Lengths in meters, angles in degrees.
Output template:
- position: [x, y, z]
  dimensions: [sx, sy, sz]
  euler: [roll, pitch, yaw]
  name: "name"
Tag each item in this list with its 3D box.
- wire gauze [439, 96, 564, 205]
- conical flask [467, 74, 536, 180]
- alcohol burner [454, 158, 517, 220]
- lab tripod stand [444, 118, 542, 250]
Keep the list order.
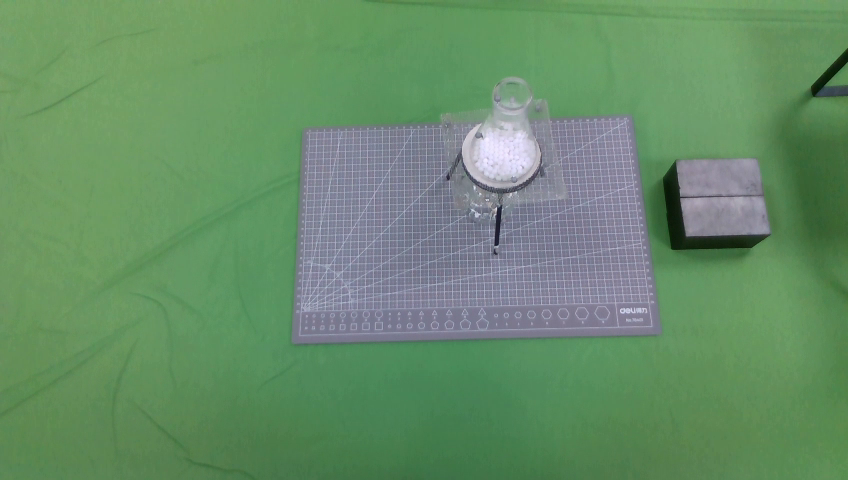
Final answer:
- position: [0.085, -0.098, 0.667]
  dimensions: [0.125, 0.011, 0.120]
  euler: [-6, 74, -3]
  name: "wire gauze"
- position: [0.082, -0.117, 0.610]
  dimensions: [0.075, 0.122, 0.075]
  euler: [-1, 71, 2]
  name: "conical flask"
- position: [0.076, -0.069, 0.737]
  dimensions: [0.078, 0.120, 0.077]
  euler: [0, 71, 1]
  name: "alcohol burner"
- position: [0.090, -0.079, 0.729]
  dimensions: [0.148, 0.132, 0.147]
  euler: [-1, 70, 2]
  name: "lab tripod stand"
